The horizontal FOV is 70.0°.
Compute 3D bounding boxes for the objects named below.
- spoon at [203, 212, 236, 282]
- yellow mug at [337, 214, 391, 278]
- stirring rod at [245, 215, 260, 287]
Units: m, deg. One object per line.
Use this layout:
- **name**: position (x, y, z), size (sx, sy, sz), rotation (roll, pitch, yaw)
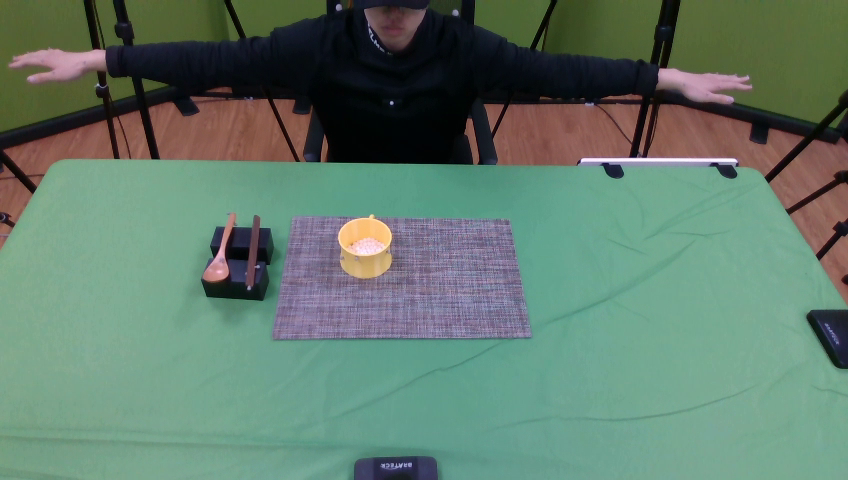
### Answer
- **spoon**: position (-0.361, 0.009, 1.097), size (0.041, 0.022, 0.192), rotation (-1, 44, -2)
- **yellow mug**: position (-0.110, 0.003, 1.152), size (0.100, 0.064, 0.130), rotation (7, 45, 2)
- **stirring rod**: position (-0.310, 0.016, 1.096), size (0.014, 0.006, 0.175), rotation (27, 36, -32)
